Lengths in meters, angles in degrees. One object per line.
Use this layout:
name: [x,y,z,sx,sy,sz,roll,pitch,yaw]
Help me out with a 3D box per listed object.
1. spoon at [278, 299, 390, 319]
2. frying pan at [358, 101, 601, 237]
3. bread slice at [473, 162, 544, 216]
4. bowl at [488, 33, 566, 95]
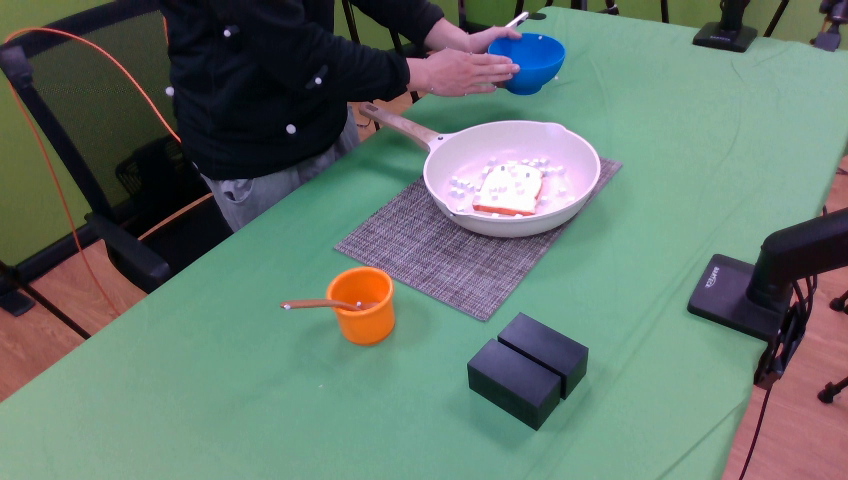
spoon: [-0.113,0.086,0.787,0.041,0.021,0.195,28,7,36]
frying pan: [0.067,-0.153,1.067,0.484,0.103,0.308,32,52,26]
bread slice: [0.150,-0.089,1.041,0.106,0.018,0.134,7,45,16]
bowl: [0.200,-0.340,1.194,0.151,0.077,0.150,-1,44,2]
